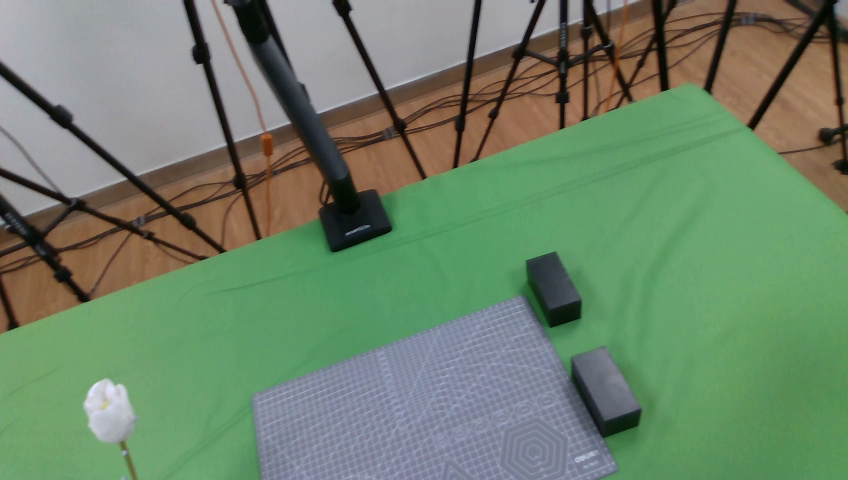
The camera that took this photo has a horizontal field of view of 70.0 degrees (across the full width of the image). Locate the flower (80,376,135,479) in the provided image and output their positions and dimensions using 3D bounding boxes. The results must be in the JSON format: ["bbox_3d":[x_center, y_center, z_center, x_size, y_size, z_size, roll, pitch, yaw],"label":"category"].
[{"bbox_3d":[-0.304,0.283,0.651,0.038,0.364,0.043,-22,41,-31],"label":"flower"}]
